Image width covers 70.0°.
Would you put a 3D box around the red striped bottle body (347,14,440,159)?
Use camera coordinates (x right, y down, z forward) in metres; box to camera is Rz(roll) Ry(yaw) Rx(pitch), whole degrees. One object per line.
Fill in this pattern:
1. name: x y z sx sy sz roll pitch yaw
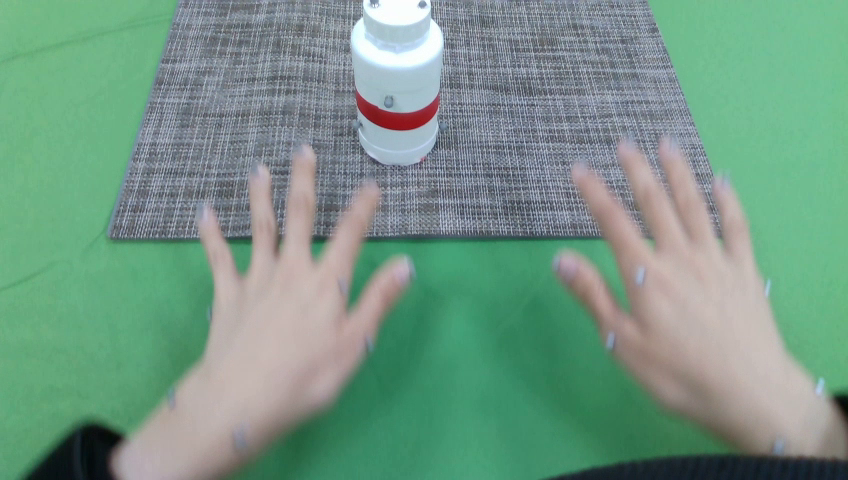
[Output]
1. red striped bottle body: -0.021 -0.119 0.434 0.063 0.120 0.062 1 57 -2

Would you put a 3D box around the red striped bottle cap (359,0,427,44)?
1. red striped bottle cap: -0.020 -0.148 0.390 0.044 0.018 0.044 2 60 -3
